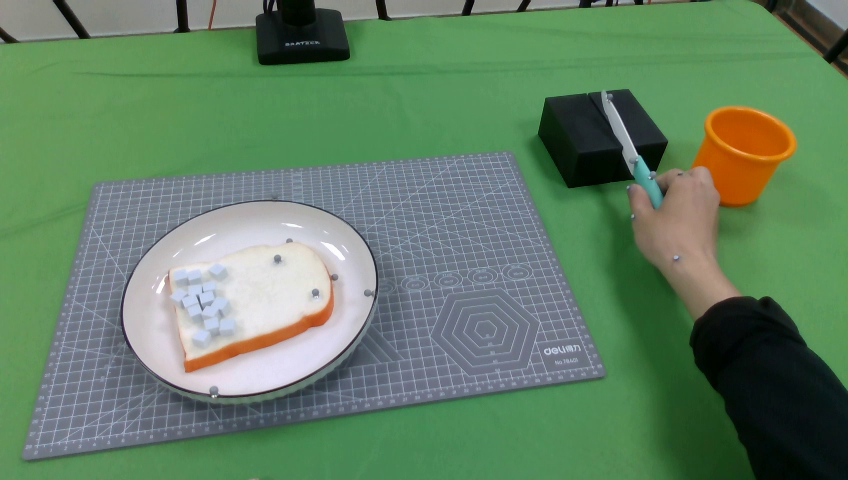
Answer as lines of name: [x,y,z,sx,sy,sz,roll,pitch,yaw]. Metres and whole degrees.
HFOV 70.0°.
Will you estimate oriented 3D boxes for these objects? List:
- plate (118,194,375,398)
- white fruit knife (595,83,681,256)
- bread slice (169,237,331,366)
plate: [-0.145,0.044,0.518,0.209,0.038,0.207,2,48,-2]
white fruit knife: [0.214,-0.080,0.619,0.016,0.027,0.205,-11,66,-13]
bread slice: [-0.149,0.042,0.523,0.132,0.019,0.103,-18,52,-17]
